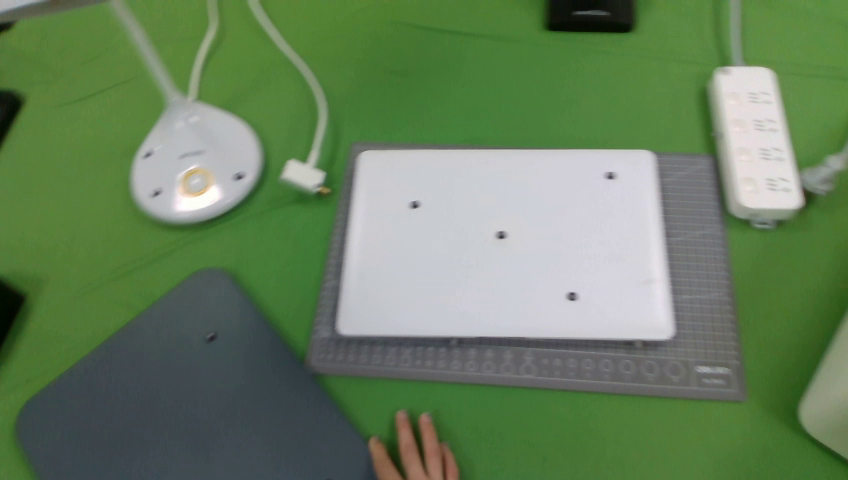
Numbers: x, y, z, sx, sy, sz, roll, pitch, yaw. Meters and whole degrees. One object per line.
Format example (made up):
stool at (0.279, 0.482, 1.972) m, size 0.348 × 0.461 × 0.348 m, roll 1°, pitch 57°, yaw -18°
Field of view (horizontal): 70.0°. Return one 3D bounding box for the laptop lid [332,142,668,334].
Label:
laptop lid at (0.080, -0.009, 0.677) m, size 0.356 × 0.013 × 0.240 m, roll 1°, pitch 66°, yaw 4°

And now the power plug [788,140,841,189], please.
power plug at (0.448, -0.081, 0.692) m, size 0.073 × 0.053 × 0.035 m, roll -14°, pitch 57°, yaw -23°

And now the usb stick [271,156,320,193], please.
usb stick at (-0.151, -0.076, 0.727) m, size 0.059 × 0.021 × 0.027 m, roll 25°, pitch 68°, yaw -21°

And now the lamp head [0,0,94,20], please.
lamp head at (-0.290, -0.220, 0.418) m, size 0.112 × 0.112 × 0.123 m, roll -13°, pitch 108°, yaw 5°

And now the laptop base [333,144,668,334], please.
laptop base at (0.081, -0.006, 0.689) m, size 0.354 × 0.023 × 0.233 m, roll 0°, pitch 66°, yaw 3°

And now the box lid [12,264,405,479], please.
box lid at (-0.218, 0.213, 0.601) m, size 0.263 × 0.015 × 0.368 m, roll -41°, pitch 69°, yaw -15°

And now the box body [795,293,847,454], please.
box body at (0.541, 0.075, 0.538) m, size 0.252 × 0.161 × 0.363 m, roll 34°, pitch 70°, yaw 18°

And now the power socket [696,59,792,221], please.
power socket at (0.378, -0.128, 0.724) m, size 0.072 × 0.033 × 0.225 m, roll 1°, pitch 63°, yaw 3°

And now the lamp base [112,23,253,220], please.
lamp base at (-0.304, -0.140, 0.690) m, size 0.161 × 0.182 × 0.177 m, roll -23°, pitch 61°, yaw -8°
